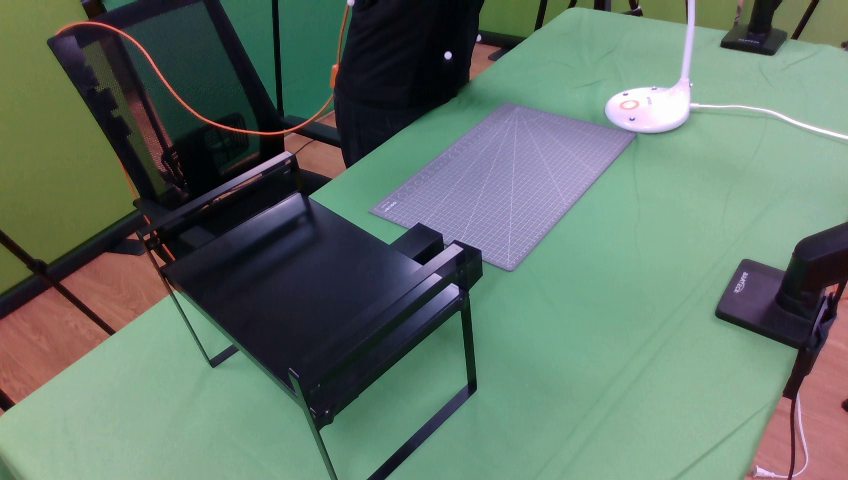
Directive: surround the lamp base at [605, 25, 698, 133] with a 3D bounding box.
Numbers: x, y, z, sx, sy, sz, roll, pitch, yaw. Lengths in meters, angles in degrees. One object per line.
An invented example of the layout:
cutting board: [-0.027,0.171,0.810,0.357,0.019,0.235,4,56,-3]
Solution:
lamp base: [0.449,-0.321,1.161,0.179,0.181,0.159,-6,41,-2]
